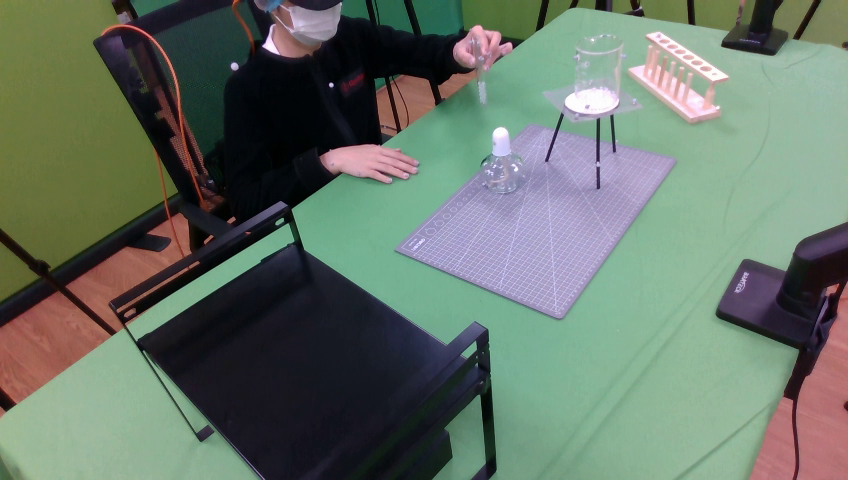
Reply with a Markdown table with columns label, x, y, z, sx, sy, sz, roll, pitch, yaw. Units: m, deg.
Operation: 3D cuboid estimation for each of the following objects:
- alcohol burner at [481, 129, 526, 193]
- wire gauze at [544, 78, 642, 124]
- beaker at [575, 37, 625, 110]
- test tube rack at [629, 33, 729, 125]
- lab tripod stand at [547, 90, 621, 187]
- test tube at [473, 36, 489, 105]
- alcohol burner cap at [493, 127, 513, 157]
| label | x | y | z | sx | sy | sz | roll | pitch | yaw |
| --- | --- | --- | --- | --- | --- | --- | --- | --- | --- |
| alcohol burner | 0.138 | -0.142 | 1.052 | 0.078 | 0.119 | 0.077 | -5 | 42 | 5 |
| wire gauze | 0.282 | -0.234 | 1.021 | 0.125 | 0.011 | 0.120 | -17 | 38 | -4 |
| beaker | 0.283 | -0.271 | 0.988 | 0.074 | 0.101 | 0.083 | -10 | 39 | 1 |
| test tube rack | 0.516 | -0.337 | 1.248 | 0.067 | 0.085 | 0.240 | -14 | 41 | -6 |
| lab tripod stand | 0.289 | -0.184 | 1.062 | 0.148 | 0.132 | 0.147 | -6 | 41 | 6 |
| test tube | 0.105 | -0.303 | 1.094 | 0.017 | 0.151 | 0.017 | -5 | 54 | 8 |
| alcohol burner cap | 0.133 | -0.169 | 1.030 | 0.034 | 0.048 | 0.033 | -6 | 36 | 5 |
